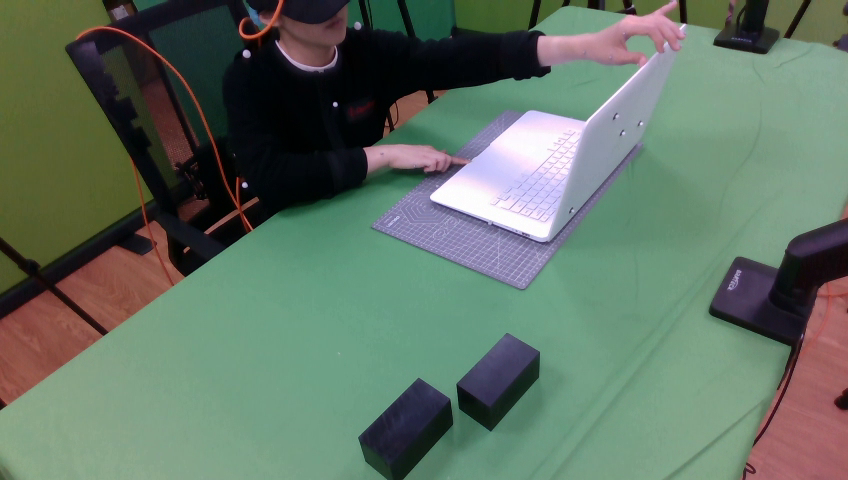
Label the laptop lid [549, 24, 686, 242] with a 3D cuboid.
[{"bbox_3d":[0.307,-0.170,0.950,0.013,0.242,0.358,31,51,22],"label":"laptop lid"}]

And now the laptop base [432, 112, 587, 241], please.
[{"bbox_3d":[0.208,-0.129,1.098,0.233,0.023,0.355,20,47,34],"label":"laptop base"}]
